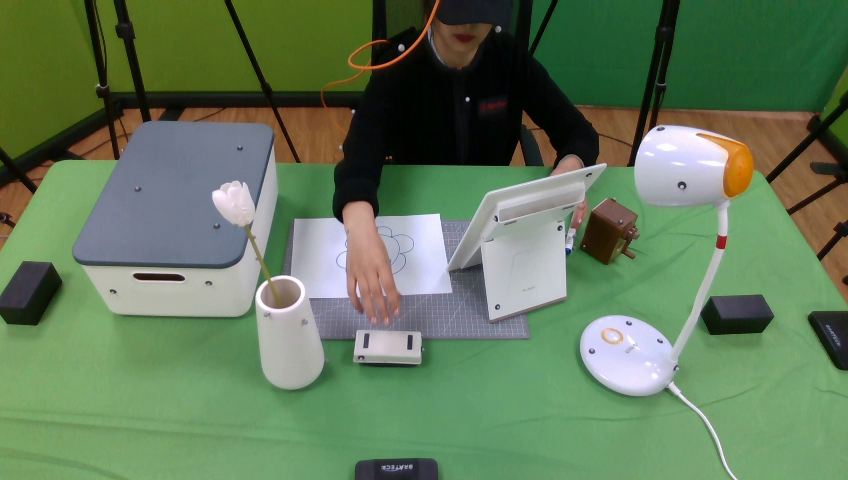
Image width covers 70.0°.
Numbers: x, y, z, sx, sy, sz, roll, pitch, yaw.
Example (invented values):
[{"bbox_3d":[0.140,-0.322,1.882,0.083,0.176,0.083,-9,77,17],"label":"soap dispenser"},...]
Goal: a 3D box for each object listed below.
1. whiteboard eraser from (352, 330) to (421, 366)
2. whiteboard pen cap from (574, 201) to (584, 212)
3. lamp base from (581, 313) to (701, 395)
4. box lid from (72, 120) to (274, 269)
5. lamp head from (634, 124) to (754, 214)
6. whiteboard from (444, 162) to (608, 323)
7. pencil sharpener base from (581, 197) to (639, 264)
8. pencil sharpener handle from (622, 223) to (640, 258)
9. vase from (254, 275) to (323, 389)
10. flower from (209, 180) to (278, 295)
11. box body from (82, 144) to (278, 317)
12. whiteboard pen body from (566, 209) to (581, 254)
[{"bbox_3d":[-0.060,0.180,1.005,0.113,0.042,0.055,2,48,-2],"label":"whiteboard eraser"},{"bbox_3d":[0.327,-0.069,1.278,0.018,0.018,0.033,18,52,13],"label":"whiteboard pen cap"},{"bbox_3d":[0.361,0.144,0.973,0.178,0.181,0.160,34,53,23],"label":"lamp base"},{"bbox_3d":[-0.417,-0.094,1.056,0.263,0.015,0.369,1,47,-3],"label":"box lid"},{"bbox_3d":[0.351,-0.089,0.776,0.112,0.113,0.122,-30,30,-28],"label":"lamp head"},{"bbox_3d":[0.186,0.025,1.029,0.217,0.306,0.143,-14,68,-17],"label":"whiteboard"},{"bbox_3d":[0.362,-0.017,1.179,0.076,0.107,0.061,37,54,27],"label":"pencil sharpener base"},{"bbox_3d":[0.397,0.002,1.146,0.030,0.068,0.036,37,47,27],"label":"pencil sharpener handle"},{"bbox_3d":[-0.209,0.143,0.921,0.098,0.201,0.097,1,46,-1],"label":"vase"},{"bbox_3d":[-0.216,0.075,0.871,0.044,0.363,0.038,-29,36,-19],"label":"flower"},{"bbox_3d":[-0.421,-0.041,1.108,0.254,0.161,0.361,2,46,-3],"label":"box body"},{"bbox_3d":[0.307,-0.026,1.241,0.017,0.017,0.140,16,51,11],"label":"whiteboard pen body"}]
